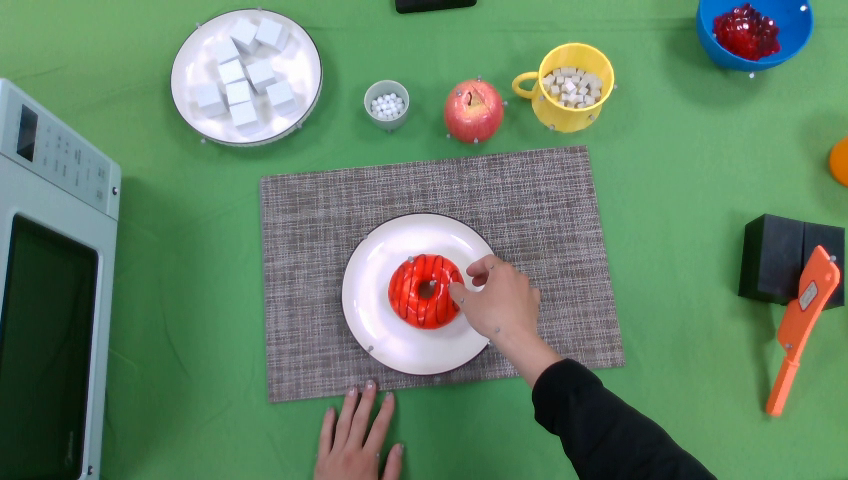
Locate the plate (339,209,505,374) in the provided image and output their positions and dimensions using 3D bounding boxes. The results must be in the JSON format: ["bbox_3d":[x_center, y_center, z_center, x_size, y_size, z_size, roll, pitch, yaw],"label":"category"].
[{"bbox_3d":[-0.003,0.064,0.768,0.209,0.038,0.208,0,76,1],"label":"plate"}]

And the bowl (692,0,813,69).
[{"bbox_3d":[0.437,-0.294,0.836,0.151,0.077,0.150,0,76,1],"label":"bowl"}]

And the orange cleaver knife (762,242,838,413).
[{"bbox_3d":[0.446,0.107,0.732,0.012,0.077,0.212,13,108,6],"label":"orange cleaver knife"}]

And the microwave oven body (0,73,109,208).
[{"bbox_3d":[-0.559,0.081,0.654,0.326,0.261,0.439,-3,77,-1],"label":"microwave oven body"}]

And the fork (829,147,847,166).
[{"bbox_3d":[0.628,-0.123,0.755,0.206,0.019,0.028,-11,68,43],"label":"fork"}]

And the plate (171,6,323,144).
[{"bbox_3d":[-0.243,-0.227,0.846,0.208,0.039,0.206,0,76,0],"label":"plate"}]

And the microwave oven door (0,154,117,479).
[{"bbox_3d":[-0.411,0.113,0.639,0.039,0.245,0.354,-3,76,0],"label":"microwave oven door"}]

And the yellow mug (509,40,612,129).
[{"bbox_3d":[0.181,-0.211,0.824,0.131,0.064,0.099,5,76,3],"label":"yellow mug"}]

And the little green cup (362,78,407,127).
[{"bbox_3d":[-0.053,-0.187,0.835,0.061,0.039,0.061,0,76,1],"label":"little green cup"}]

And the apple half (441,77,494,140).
[{"bbox_3d":[0.052,-0.168,0.812,0.053,0.075,0.080,-32,81,-3],"label":"apple half"}]

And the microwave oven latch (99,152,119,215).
[{"bbox_3d":[-0.418,-0.073,0.790,0.030,0.029,0.079,-1,77,0],"label":"microwave oven latch"}]

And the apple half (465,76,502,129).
[{"bbox_3d":[0.085,-0.189,0.815,0.033,0.081,0.081,-33,77,-3],"label":"apple half"}]

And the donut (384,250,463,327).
[{"bbox_3d":[0.000,0.060,0.758,0.099,0.048,0.098,0,79,1],"label":"donut"}]
